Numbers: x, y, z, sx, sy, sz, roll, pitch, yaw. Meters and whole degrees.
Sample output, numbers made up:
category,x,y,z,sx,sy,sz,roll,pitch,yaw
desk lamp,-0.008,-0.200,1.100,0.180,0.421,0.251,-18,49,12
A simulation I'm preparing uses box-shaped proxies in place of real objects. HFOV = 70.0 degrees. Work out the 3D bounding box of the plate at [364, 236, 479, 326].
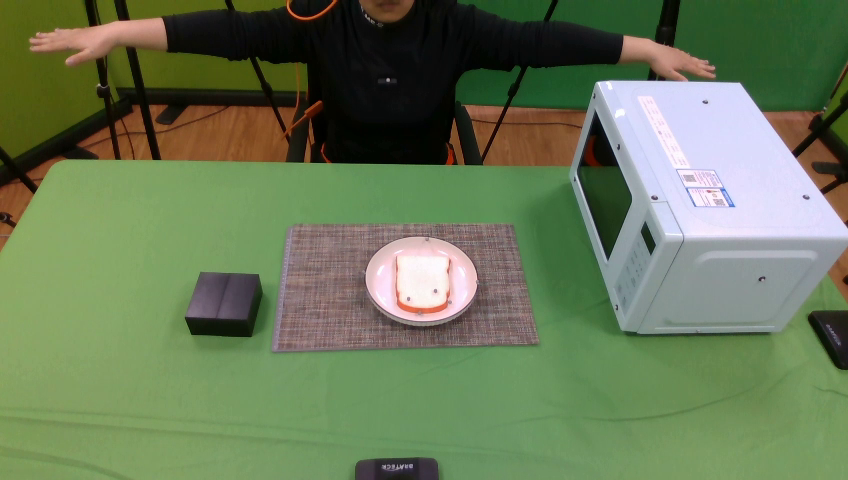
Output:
category,x,y,z,sx,sy,sz,roll,pitch,yaw
plate,-0.004,0.078,1.107,0.209,0.038,0.208,2,46,-2

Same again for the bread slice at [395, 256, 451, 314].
category,x,y,z,sx,sy,sz,roll,pitch,yaw
bread slice,-0.001,0.079,1.109,0.105,0.019,0.130,1,45,-2

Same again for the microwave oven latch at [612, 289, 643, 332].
category,x,y,z,sx,sy,sz,roll,pitch,yaw
microwave oven latch,0.357,0.124,1.068,0.030,0.029,0.078,0,45,-3

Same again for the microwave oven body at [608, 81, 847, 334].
category,x,y,z,sx,sy,sz,roll,pitch,yaw
microwave oven body,0.501,-0.070,1.132,0.326,0.261,0.438,-1,45,-4

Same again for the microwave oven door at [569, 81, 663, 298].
category,x,y,z,sx,sy,sz,roll,pitch,yaw
microwave oven door,0.353,-0.104,1.147,0.039,0.245,0.353,0,46,-4
